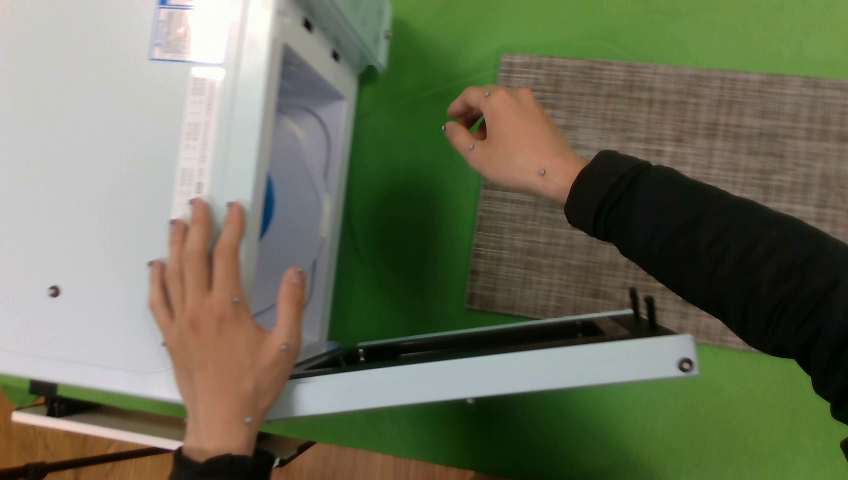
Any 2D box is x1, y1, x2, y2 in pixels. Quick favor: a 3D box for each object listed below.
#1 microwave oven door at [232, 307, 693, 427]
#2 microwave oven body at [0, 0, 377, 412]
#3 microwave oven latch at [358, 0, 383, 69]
[{"bbox_3d":[0.039,0.112,0.569,0.355,0.244,0.039,-10,85,10],"label":"microwave oven door"},{"bbox_3d":[-0.246,-0.085,0.630,0.325,0.261,0.441,5,89,10],"label":"microwave oven body"},{"bbox_3d":[-0.066,-0.242,0.702,0.030,0.029,0.079,6,90,10],"label":"microwave oven latch"}]
